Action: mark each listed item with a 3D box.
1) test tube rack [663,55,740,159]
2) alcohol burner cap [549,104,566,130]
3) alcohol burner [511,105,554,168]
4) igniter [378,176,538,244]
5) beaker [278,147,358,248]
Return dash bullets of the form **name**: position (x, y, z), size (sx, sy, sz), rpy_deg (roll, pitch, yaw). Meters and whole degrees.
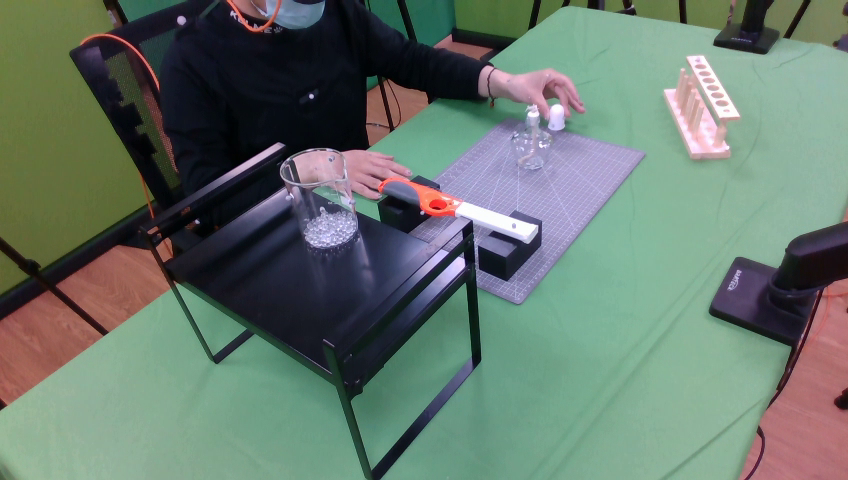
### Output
- **test tube rack**: position (0.518, -0.256, 1.144), size (0.066, 0.085, 0.241), rpy_deg (-1, 41, 8)
- **alcohol burner cap**: position (0.256, -0.237, 1.157), size (0.034, 0.048, 0.033), rpy_deg (-6, 41, 5)
- **alcohol burner**: position (0.196, -0.190, 1.088), size (0.078, 0.119, 0.077), rpy_deg (-3, 42, 3)
- **igniter**: position (0.046, -0.052, 0.942), size (0.274, 0.025, 0.057), rpy_deg (21, 47, 27)
- **beaker**: position (-0.117, -0.046, 0.705), size (0.083, 0.101, 0.074), rpy_deg (17, 47, 25)
